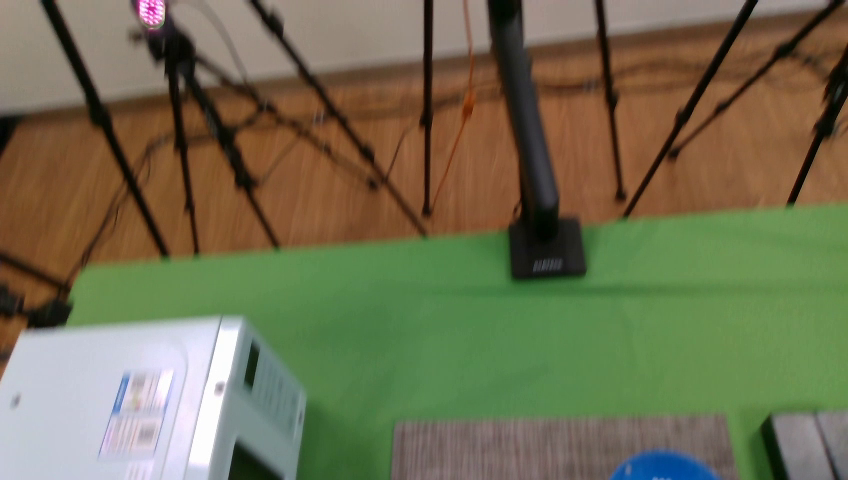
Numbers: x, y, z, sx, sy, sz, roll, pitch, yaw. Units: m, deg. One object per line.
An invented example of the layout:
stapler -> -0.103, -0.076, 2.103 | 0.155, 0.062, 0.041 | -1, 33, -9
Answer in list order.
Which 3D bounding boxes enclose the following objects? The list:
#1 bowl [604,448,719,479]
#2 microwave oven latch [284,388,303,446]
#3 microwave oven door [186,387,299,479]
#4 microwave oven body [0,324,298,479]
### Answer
bowl -> 0.281, 0.332, 0.715 | 0.151, 0.077, 0.150 | -6, 54, 8
microwave oven latch -> -0.193, 0.256, 0.875 | 0.030, 0.030, 0.078 | -5, 55, 8
microwave oven door -> -0.213, 0.373, 0.668 | 0.039, 0.246, 0.352 | -6, 54, 8
microwave oven body -> -0.357, 0.357, 0.715 | 0.326, 0.263, 0.437 | -5, 55, 7
